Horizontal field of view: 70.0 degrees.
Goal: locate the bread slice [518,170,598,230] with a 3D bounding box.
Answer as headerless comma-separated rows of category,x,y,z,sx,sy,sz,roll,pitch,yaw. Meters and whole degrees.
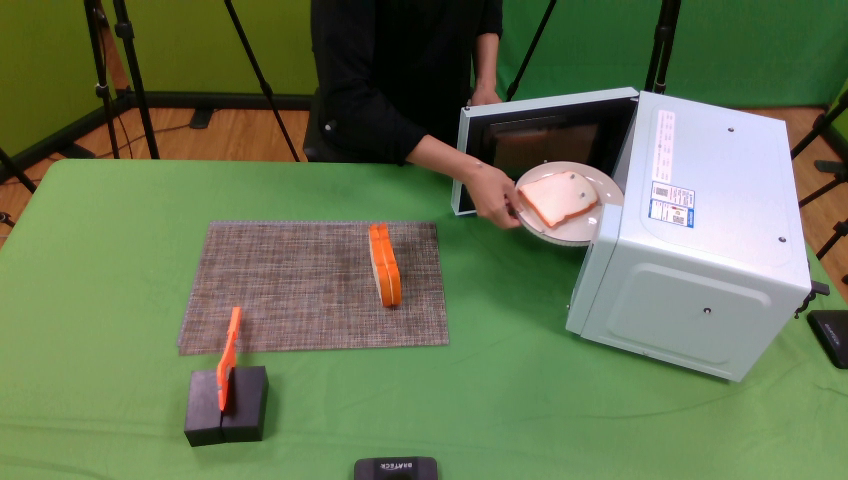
bread slice,0.258,-0.082,1.145,0.134,0.018,0.106,-27,58,-19

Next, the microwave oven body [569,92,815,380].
microwave oven body,0.468,-0.021,1.082,0.325,0.261,0.440,15,46,11

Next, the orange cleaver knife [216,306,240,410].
orange cleaver knife,-0.307,0.180,0.957,0.012,0.077,0.210,-2,25,-8

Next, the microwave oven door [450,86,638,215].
microwave oven door,0.234,-0.177,1.207,0.356,0.245,0.039,-10,48,-13

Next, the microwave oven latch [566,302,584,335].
microwave oven latch,0.268,0.126,1.059,0.030,0.029,0.079,16,46,12

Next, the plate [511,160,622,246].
plate,0.265,-0.065,1.130,0.208,0.039,0.206,0,51,0
